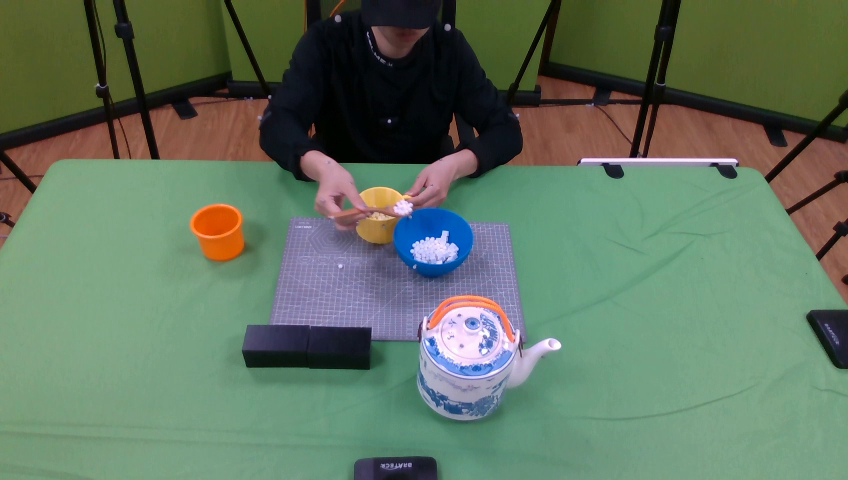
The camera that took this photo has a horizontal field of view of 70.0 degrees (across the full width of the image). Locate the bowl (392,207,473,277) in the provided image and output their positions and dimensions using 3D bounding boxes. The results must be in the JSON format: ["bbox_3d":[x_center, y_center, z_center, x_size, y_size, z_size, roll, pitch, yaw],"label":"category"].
[{"bbox_3d":[0.014,0.017,1.140,0.151,0.077,0.150,2,46,-2],"label":"bowl"}]

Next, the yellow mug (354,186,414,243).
[{"bbox_3d":[-0.076,-0.056,1.212,0.131,0.064,0.099,-22,52,-25],"label":"yellow mug"}]

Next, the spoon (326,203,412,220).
[{"bbox_3d":[-0.093,-0.050,1.047,0.041,0.022,0.194,36,26,33],"label":"spoon"}]

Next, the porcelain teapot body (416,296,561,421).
[{"bbox_3d":[0.094,0.164,0.907,0.205,0.226,0.144,6,45,1],"label":"porcelain teapot body"}]

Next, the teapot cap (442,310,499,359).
[{"bbox_3d":[0.068,0.133,0.880,0.085,0.044,0.084,4,45,-4],"label":"teapot cap"}]
